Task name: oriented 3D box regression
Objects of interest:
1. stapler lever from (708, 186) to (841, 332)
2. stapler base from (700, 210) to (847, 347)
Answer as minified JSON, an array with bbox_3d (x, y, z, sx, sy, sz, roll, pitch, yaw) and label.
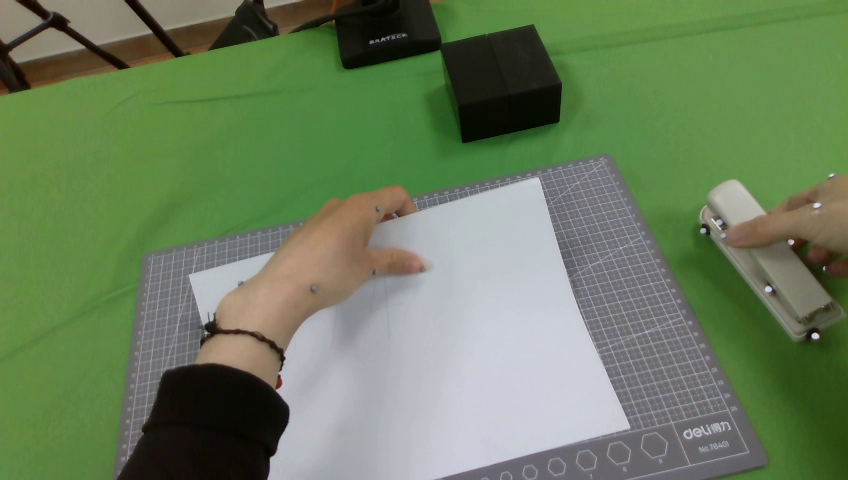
[{"bbox_3d":[0.252,0.009,0.443,0.027,0.040,0.117,-36,56,15],"label":"stapler lever"},{"bbox_3d":[0.263,0.017,0.464,0.041,0.025,0.129,-36,57,15],"label":"stapler base"}]
